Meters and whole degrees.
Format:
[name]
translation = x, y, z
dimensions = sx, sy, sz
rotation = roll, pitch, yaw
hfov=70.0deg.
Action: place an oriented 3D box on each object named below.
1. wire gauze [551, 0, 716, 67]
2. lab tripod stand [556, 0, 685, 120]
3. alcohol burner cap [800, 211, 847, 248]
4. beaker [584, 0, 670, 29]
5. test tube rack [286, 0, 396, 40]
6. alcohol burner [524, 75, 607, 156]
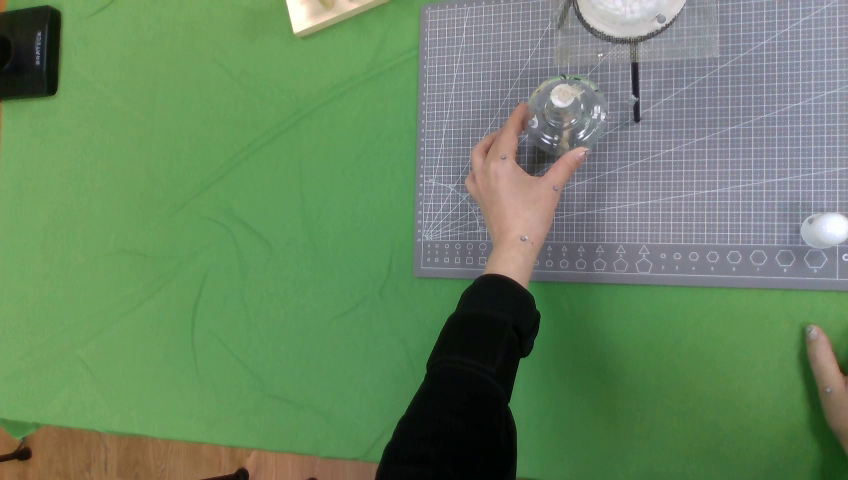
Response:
[wire gauze]
translation = 0.164, -0.199, 0.478
dimensions = 0.125, 0.011, 0.121
rotation = 0, 90, 14
[lab tripod stand]
translation = 0.183, -0.193, 0.541
dimensions = 0.148, 0.132, 0.148
rotation = -1, 88, 15
[alcohol burner cap]
translation = 0.352, -0.011, 0.528
dimensions = 0.034, 0.048, 0.034
rotation = -1, 86, 17
[beaker]
translation = 0.144, -0.202, 0.433
dimensions = 0.083, 0.101, 0.074
rotation = 15, 91, 17
[test tube rack]
translation = -0.055, -0.303, 0.646
dimensions = 0.242, 0.085, 0.066
rotation = -17, 82, 15
[alcohol burner]
translation = 0.130, -0.119, 0.563
dimensions = 0.077, 0.119, 0.078
rotation = -1, 86, 15
